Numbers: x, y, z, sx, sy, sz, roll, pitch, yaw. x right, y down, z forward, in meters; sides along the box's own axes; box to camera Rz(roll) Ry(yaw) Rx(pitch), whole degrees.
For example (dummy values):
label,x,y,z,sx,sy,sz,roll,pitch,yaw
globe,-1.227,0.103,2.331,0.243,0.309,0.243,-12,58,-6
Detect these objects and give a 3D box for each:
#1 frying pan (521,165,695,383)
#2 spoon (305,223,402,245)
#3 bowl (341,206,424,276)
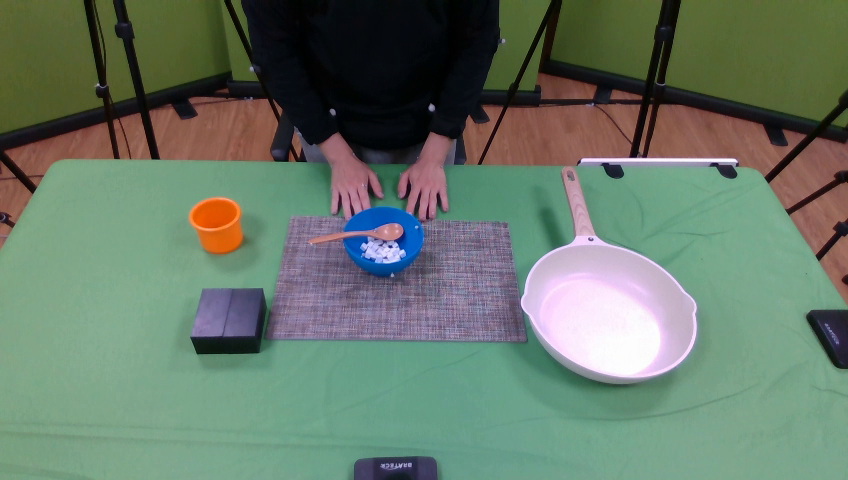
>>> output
label,x,y,z,sx,sy,sz,roll,pitch,yaw
frying pan,0.312,0.044,1.123,0.307,0.103,0.484,1,55,-5
spoon,-0.126,-0.010,1.109,0.194,0.022,0.041,-5,49,-35
bowl,-0.079,0.014,1.133,0.151,0.077,0.150,2,46,-2
